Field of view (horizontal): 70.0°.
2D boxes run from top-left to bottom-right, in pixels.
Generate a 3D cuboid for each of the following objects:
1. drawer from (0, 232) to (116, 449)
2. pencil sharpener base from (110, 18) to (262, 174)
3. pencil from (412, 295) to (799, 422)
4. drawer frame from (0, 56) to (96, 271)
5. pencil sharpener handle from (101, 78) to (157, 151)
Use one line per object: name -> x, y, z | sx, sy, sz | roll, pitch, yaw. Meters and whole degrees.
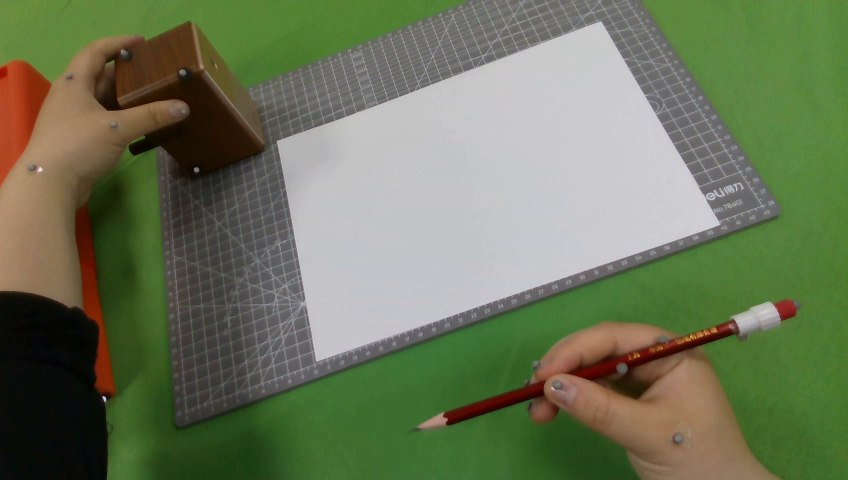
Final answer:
drawer -> -0.363, 0.065, 0.478 | 0.194, 0.074, 0.209 | -27, 61, 1
pencil sharpener base -> -0.195, -0.114, 0.503 | 0.076, 0.108, 0.061 | -23, 61, 3
pencil -> 0.085, 0.061, 0.297 | 0.194, 0.012, 0.012 | -19, 61, 5
drawer frame -> -0.410, -0.027, 0.532 | 0.201, 0.083, 0.211 | -27, 60, 1
pencil sharpener handle -> -0.245, -0.099, 0.494 | 0.030, 0.068, 0.035 | -23, 58, 3
